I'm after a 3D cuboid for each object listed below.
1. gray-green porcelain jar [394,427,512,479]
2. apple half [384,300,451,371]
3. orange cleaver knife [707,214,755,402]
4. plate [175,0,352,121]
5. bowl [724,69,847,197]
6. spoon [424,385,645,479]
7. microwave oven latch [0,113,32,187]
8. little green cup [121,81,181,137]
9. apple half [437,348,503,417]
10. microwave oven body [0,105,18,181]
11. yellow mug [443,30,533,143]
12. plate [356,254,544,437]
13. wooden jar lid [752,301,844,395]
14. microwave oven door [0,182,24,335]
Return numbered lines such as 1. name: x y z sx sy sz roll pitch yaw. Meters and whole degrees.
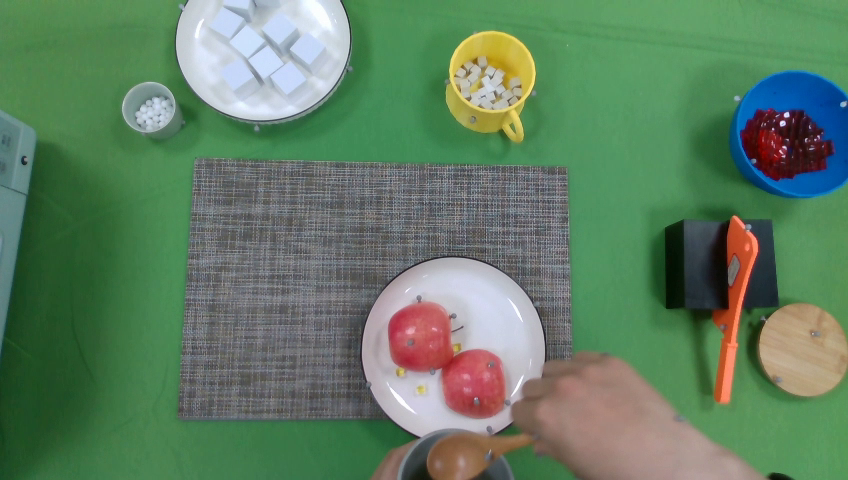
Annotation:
1. gray-green porcelain jar: 0.021 0.254 0.570 0.106 0.127 0.105 3 45 -3
2. apple half: -0.008 0.106 0.672 0.075 0.053 0.080 -2 82 0
3. orange cleaver knife: 0.339 0.078 0.687 0.012 0.077 0.212 2 105 1
4. plate: -0.190 -0.240 0.734 0.208 0.039 0.207 0 82 -2
5. bowl: 0.420 -0.117 0.721 0.151 0.077 0.151 0 82 -2
6. spoon: 0.081 0.151 0.475 0.193 0.021 0.041 -27 90 29
7. microwave oven latch: -0.468 -0.102 0.683 0.030 0.029 0.079 8 82 -2
8. little green cup: -0.318 -0.152 0.714 0.061 0.039 0.061 1 82 -3
9. apple half: 0.053 0.160 0.675 0.081 0.033 0.081 1 78 -2
10. microwave oven body: -0.624 0.046 0.557 0.326 0.260 0.440 4 82 -2
11. yellow mug: 0.082 -0.175 0.722 0.100 0.064 0.130 -28 84 -6
12. plate: 0.028 0.120 0.686 0.209 0.038 0.208 0 82 -2
13. wooden jar lid: 0.438 0.127 0.715 0.108 0.021 0.108 0 82 -1
14. microwave oven door: -0.481 0.098 0.551 0.039 0.244 0.354 4 81 -1
